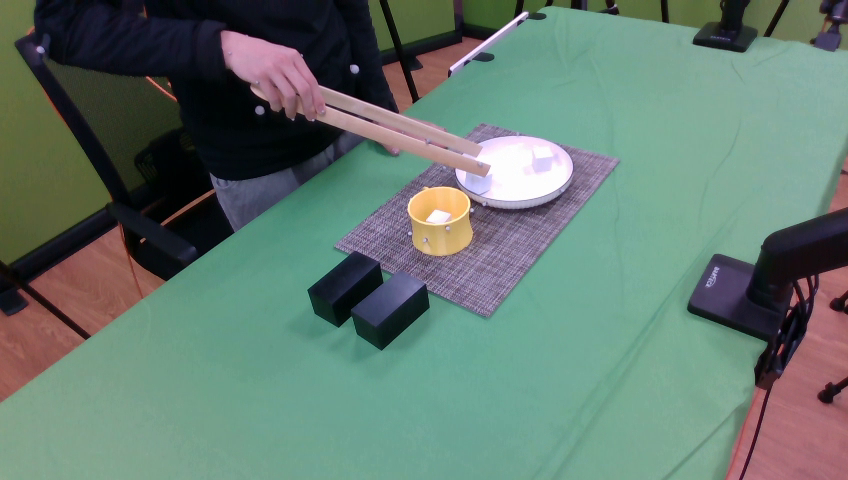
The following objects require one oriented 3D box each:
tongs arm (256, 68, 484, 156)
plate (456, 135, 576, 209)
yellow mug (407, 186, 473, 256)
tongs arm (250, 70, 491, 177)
[{"bbox_3d":[-0.076,-0.198,0.959,0.390,0.028,0.028,15,40,-23],"label":"tongs arm"},{"bbox_3d":[0.161,-0.116,1.064,0.207,0.039,0.206,-4,40,4],"label":"plate"},{"bbox_3d":[0.020,-0.041,0.973,0.100,0.064,0.129,-18,41,-13],"label":"yellow mug"},{"bbox_3d":[-0.072,-0.173,0.928,0.387,0.026,0.050,15,36,-22],"label":"tongs arm"}]
